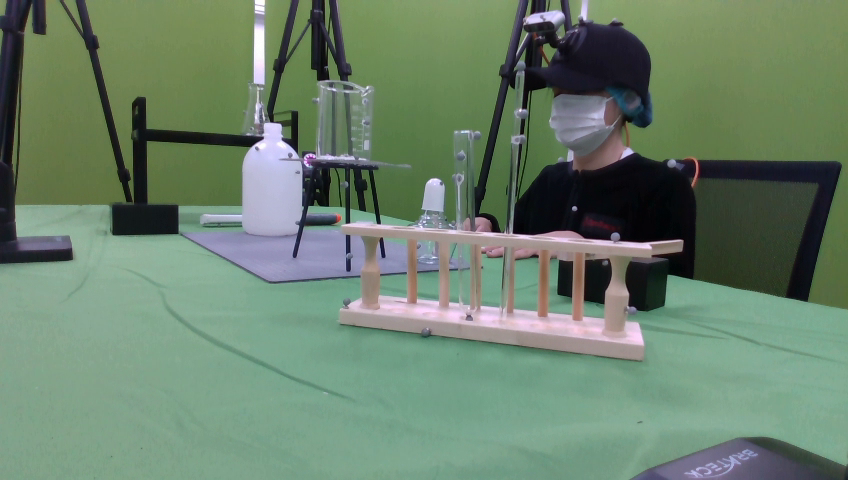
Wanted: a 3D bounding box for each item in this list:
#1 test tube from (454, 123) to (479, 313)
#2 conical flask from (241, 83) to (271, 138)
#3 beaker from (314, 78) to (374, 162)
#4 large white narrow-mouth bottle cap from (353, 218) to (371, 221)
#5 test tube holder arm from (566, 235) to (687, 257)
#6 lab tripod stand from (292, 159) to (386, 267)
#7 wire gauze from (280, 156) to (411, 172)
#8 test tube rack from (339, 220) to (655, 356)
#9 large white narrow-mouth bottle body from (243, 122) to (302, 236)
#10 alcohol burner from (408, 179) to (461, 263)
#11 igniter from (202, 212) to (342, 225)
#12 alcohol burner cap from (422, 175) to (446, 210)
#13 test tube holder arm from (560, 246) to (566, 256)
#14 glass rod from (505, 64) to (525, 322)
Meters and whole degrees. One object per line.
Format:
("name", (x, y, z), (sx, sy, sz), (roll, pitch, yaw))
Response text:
("test tube", (0.034, -0.016, 0.477), (0.017, 0.150, 0.017), (-2, 9, 1))
("conical flask", (-0.384, -0.297, 1.393), (0.075, 0.122, 0.075), (2, 7, 0))
("beaker", (-0.101, -0.150, 0.774), (0.074, 0.100, 0.083), (-2, 8, -40))
("large white narrow-mouth bottle cap", (-0.120, -0.029, 1.184), (0.038, 0.024, 0.037), (2, 8, 0))
("test tube holder arm", (0.215, 0.006, 0.630), (0.179, 0.015, 0.013), (-3, 10, -30))
("lab tripod stand", (-0.105, -0.039, 0.797), (0.148, 0.131, 0.148), (2, 5, 0))
("wire gauze", (-0.103, -0.103, 0.785), (0.121, 0.011, 0.126), (11, 8, 42))
("test tube rack", (0.056, 0.032, 0.495), (0.242, 0.085, 0.067), (4, 7, 15))
("large white narrow-mouth bottle body", (-0.264, -0.109, 1.061), (0.102, 0.194, 0.102), (2, 8, 0))
("alcohol burner", (0.014, -0.029, 0.834), (0.078, 0.119, 0.078), (0, 6, 0))
("igniter", (-0.298, -0.043, 1.216), (0.278, 0.025, 0.057), (-3, -2, -32))
("alcohol burner cap", (0.016, -0.065, 0.830), (0.034, 0.048, 0.034), (7, 4, 0))
("test tube holder arm", (0.173, 0.007, 0.611), (0.088, 0.015, 0.010), (-3, 10, -30))
("glass rod", (0.069, -0.030, 0.458), (0.008, 0.199, 0.008), (1, 15, 0))
